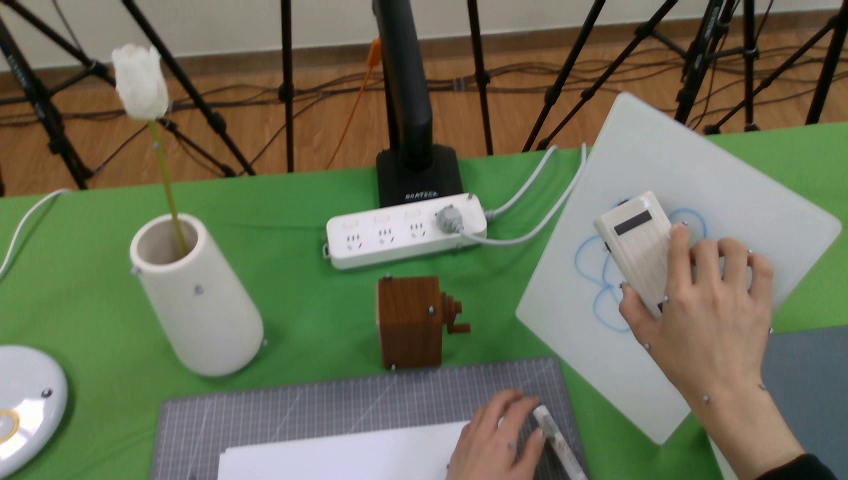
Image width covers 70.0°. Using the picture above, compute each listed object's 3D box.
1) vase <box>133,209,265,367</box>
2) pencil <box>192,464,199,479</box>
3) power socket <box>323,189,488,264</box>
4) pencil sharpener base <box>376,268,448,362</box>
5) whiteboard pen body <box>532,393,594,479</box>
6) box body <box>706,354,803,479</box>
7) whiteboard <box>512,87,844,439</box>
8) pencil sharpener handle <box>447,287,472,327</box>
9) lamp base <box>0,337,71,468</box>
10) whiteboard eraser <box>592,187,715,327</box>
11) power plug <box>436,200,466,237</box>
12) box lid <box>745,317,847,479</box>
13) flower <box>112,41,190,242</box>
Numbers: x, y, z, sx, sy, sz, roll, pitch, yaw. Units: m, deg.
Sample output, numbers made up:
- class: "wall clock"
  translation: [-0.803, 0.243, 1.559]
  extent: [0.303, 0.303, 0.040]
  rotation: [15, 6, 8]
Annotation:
- class: "vase"
  translation: [-0.237, 0.056, 0.647]
  extent: [0.098, 0.202, 0.097]
  rotation: [-1, 52, 2]
- class: "pencil"
  translation: [-0.236, 0.307, 0.570]
  extent: [0.012, 0.012, 0.192]
  rotation: [0, 50, 2]
- class: "power socket"
  translation: [-0.022, -0.019, 0.807]
  extent: [0.227, 0.033, 0.071]
  rotation: [-10, 54, -7]
- class: "pencil sharpener base"
  translation: [-0.012, 0.086, 0.679]
  extent: [0.077, 0.108, 0.060]
  rotation: [-3, 51, -2]
- class: "whiteboard pen body"
  translation: [0.151, 0.220, 0.624]
  extent: [0.017, 0.017, 0.139]
  rotation: [-19, 54, -13]
- class: "box body"
  translation: [0.432, 0.258, 0.506]
  extent: [0.254, 0.162, 0.360]
  rotation: [-6, 53, -4]
- class: "whiteboard"
  translation: [0.264, 0.017, 0.643]
  extent: [0.144, 0.307, 0.215]
  rotation: [-21, 52, -38]
- class: "pencil sharpener handle"
  translation: [0.039, 0.075, 0.672]
  extent: [0.031, 0.068, 0.035]
  rotation: [-3, 51, -2]
- class: "lamp base"
  translation: [-0.485, 0.127, 0.606]
  extent: [0.178, 0.182, 0.160]
  rotation: [21, 55, 19]
- class: "whiteboard eraser"
  translation: [0.195, 0.014, 0.518]
  extent: [0.055, 0.042, 0.112]
  rotation: [-29, 81, 10]
- class: "power plug"
  translation: [0.034, -0.020, 0.777]
  extent: [0.035, 0.053, 0.072]
  rotation: [-2, 54, 0]
- class: "box lid"
  translation: [0.431, 0.210, 0.448]
  extent: [0.263, 0.015, 0.367]
  rotation: [-6, 52, -4]
- class: "flower"
  translation: [-0.234, -0.009, 0.593]
  extent: [0.038, 0.365, 0.043]
  rotation: [-14, 35, -18]
